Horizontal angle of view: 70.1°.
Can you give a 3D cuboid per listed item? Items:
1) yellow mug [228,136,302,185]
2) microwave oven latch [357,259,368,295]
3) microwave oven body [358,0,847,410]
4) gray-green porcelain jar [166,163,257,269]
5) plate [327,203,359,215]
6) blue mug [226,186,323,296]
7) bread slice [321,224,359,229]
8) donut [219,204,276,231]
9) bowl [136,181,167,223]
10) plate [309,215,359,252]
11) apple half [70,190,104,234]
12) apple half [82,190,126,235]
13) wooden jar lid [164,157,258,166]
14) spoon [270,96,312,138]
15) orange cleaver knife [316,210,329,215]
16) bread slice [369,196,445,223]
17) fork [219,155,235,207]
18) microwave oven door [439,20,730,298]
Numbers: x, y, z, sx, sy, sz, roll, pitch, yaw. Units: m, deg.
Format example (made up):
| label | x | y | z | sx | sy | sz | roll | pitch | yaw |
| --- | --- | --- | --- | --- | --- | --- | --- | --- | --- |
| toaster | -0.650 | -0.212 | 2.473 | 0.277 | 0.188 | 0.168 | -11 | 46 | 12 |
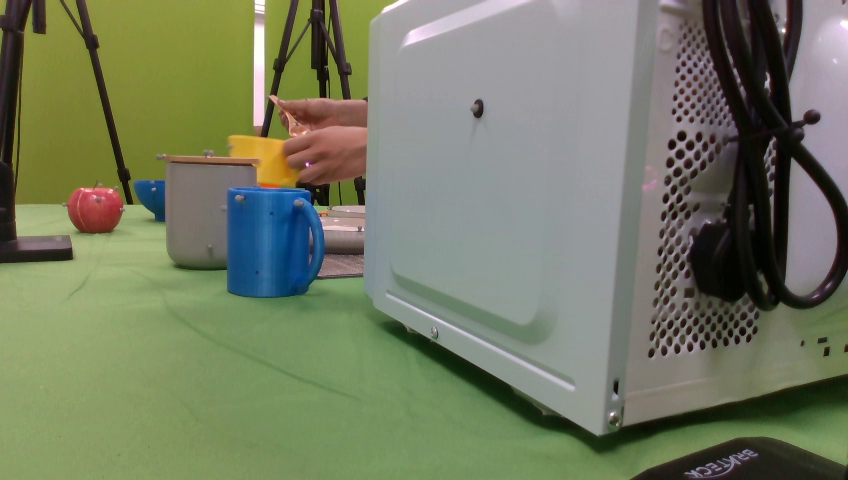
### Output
| label | x | y | z | sx | sy | sz | roll | pitch | yaw |
| --- | --- | --- | --- | --- | --- | --- | --- | --- | --- |
| yellow mug | -0.232 | -0.117 | 0.907 | 0.130 | 0.064 | 0.100 | 8 | 5 | 30 |
| microwave oven latch | -0.019 | 0.031 | 0.529 | 0.079 | 0.029 | 0.030 | -1 | 7 | -26 |
| microwave oven body | 0.210 | -0.051 | 0.471 | 0.444 | 0.260 | 0.324 | -1 | 7 | -28 |
| gray-green porcelain jar | -0.263 | -0.031 | 0.754 | 0.106 | 0.126 | 0.106 | 2 | 7 | 0 |
| plate | -0.102 | -0.053 | 1.299 | 0.209 | 0.038 | 0.209 | 2 | 8 | 0 |
| blue mug | -0.148 | 0.000 | 0.618 | 0.116 | 0.106 | 0.083 | 7 | 9 | 33 |
| bread slice | -0.125 | -0.009 | 0.938 | 0.131 | 0.019 | 0.105 | 6 | 9 | 32 |
| donut | -0.316 | -0.039 | 1.083 | 0.099 | 0.048 | 0.099 | 3 | 7 | 0 |
| bowl | -0.497 | -0.076 | 1.221 | 0.151 | 0.077 | 0.151 | 2 | 8 | 0 |
| plate | -0.130 | -0.011 | 0.946 | 0.208 | 0.039 | 0.207 | 2 | 8 | 0 |
| apple half | -0.552 | -0.047 | 1.009 | 0.053 | 0.074 | 0.081 | 0 | 9 | 27 |
| apple half | -0.516 | -0.046 | 0.994 | 0.032 | 0.081 | 0.081 | 0 | 6 | 26 |
| wooden jar lid | -0.261 | -0.093 | 0.746 | 0.108 | 0.020 | 0.108 | 0 | 9 | 0 |
| spoon | -0.270 | -0.248 | 1.202 | 0.042 | 0.021 | 0.193 | -20 | 47 | -21 |
| orange cleaver knife | -0.259 | -0.064 | 1.423 | 0.212 | 0.012 | 0.077 | -4 | 3 | -30 |
| bread slice | -0.040 | -0.057 | 1.142 | 0.107 | 0.018 | 0.133 | -8 | -8 | -39 |
| fork | -0.459 | -0.134 | 1.415 | 0.028 | 0.018 | 0.207 | -1 | -34 | -24 |
| microwave oven door | 0.181 | -0.076 | 0.618 | 0.358 | 0.243 | 0.039 | -2 | 8 | -28 |
